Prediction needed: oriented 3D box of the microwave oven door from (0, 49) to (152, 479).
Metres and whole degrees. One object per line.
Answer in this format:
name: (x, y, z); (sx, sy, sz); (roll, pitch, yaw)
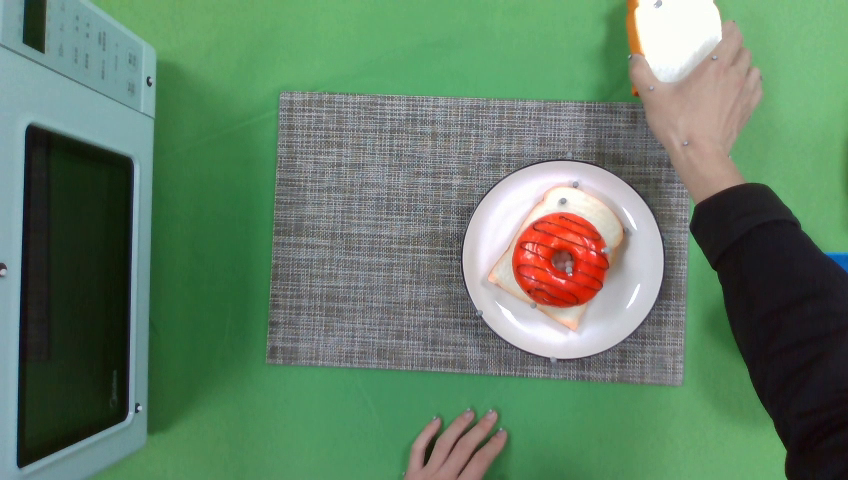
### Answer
microwave oven door: (-0.320, 0.038, 0.543); (0.039, 0.244, 0.355); (0, 89, 3)

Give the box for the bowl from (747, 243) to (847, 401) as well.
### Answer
bowl: (0.390, 0.079, 0.609); (0.151, 0.077, 0.151); (0, 88, 2)

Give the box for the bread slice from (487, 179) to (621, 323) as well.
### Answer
bread slice: (0.141, 0.005, 0.641); (0.107, 0.018, 0.134); (27, 94, 3)

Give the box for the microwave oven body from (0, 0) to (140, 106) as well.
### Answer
microwave oven body: (-0.465, -0.005, 0.555); (0.326, 0.260, 0.441); (0, 90, 2)

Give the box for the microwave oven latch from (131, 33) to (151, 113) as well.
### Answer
microwave oven latch: (-0.310, -0.178, 0.647); (0.030, 0.029, 0.079); (1, 90, 2)

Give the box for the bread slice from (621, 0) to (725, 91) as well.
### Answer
bread slice: (0.253, -0.218, 0.624); (0.105, 0.019, 0.131); (-3, 84, -10)

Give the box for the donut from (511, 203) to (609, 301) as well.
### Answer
donut: (0.136, 0.013, 0.610); (0.099, 0.048, 0.099); (0, 89, 3)

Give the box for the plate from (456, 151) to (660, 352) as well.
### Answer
plate: (0.137, 0.012, 0.638); (0.207, 0.039, 0.207); (0, 89, 3)

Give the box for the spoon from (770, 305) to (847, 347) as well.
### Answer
spoon: (0.438, 0.085, 0.575); (0.193, 0.022, 0.041); (-1, 81, 24)
